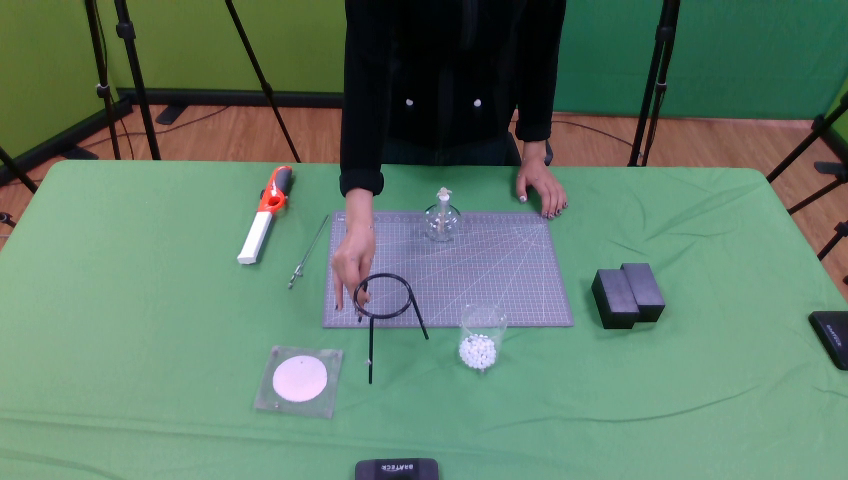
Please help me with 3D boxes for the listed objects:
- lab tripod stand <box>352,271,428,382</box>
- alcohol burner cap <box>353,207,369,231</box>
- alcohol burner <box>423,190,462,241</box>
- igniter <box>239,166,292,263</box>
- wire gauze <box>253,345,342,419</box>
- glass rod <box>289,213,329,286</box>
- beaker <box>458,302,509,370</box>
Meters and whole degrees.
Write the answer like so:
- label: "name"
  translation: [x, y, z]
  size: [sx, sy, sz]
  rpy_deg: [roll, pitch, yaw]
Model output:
- label: "lab tripod stand"
  translation: [-0.063, 0.129, 0.951]
  size: [0.148, 0.132, 0.147]
  rpy_deg: [1, 45, -1]
- label: "alcohol burner cap"
  translation: [-0.127, -0.045, 1.215]
  size: [0.034, 0.048, 0.033]
  rpy_deg: [3, 47, -3]
- label: "alcohol burner"
  translation: [0.036, -0.055, 1.186]
  size: [0.078, 0.120, 0.077]
  rpy_deg: [2, 48, -1]
- label: "igniter"
  translation: [-0.318, -0.060, 1.229]
  size: [0.057, 0.025, 0.275]
  rpy_deg: [-2, 45, 10]
- label: "wire gauze"
  translation: [-0.200, 0.224, 0.978]
  size: [0.125, 0.011, 0.121]
  rpy_deg: [7, 47, 0]
- label: "glass rod"
  translation: [-0.222, 0.014, 1.179]
  size: [0.008, 0.008, 0.199]
  rpy_deg: [12, 46, 8]
- label: "beaker"
  translation: [0.092, 0.159, 0.998]
  size: [0.083, 0.101, 0.074]
  rpy_deg: [35, 53, 28]
